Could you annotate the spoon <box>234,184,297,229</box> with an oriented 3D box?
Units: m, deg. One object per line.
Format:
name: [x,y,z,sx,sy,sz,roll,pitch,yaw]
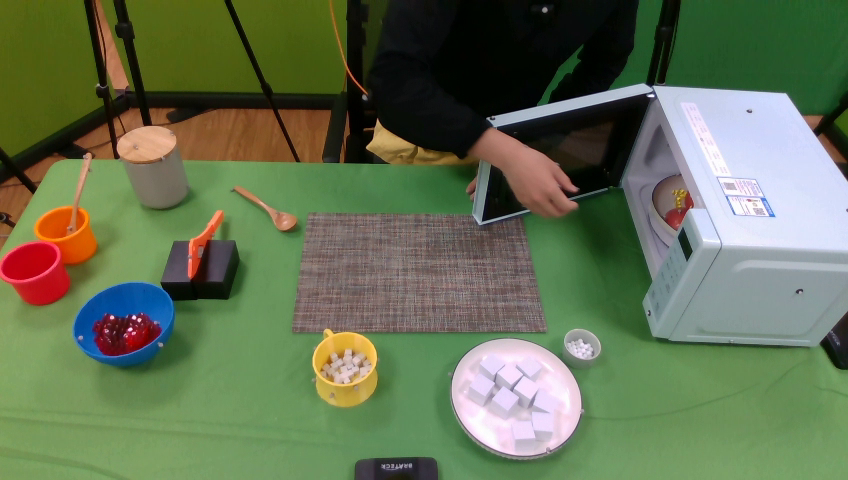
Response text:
spoon: [-0.328,-0.073,1.239,0.193,0.022,0.041,34,69,25]

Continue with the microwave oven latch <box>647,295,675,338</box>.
microwave oven latch: [0.412,0.133,1.060,0.030,0.029,0.078,4,46,1]

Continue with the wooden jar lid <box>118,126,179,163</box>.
wooden jar lid: [-0.528,-0.181,1.167,0.108,0.021,0.107,4,47,-4]

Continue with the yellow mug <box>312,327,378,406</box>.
yellow mug: [-0.132,0.193,0.971,0.100,0.064,0.130,-22,51,-22]

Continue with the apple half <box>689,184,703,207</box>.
apple half: [0.568,-0.090,1.194,0.081,0.053,0.074,0,36,12]

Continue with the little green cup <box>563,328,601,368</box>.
little green cup: [0.265,0.185,1.025,0.061,0.039,0.061,1,45,-1]

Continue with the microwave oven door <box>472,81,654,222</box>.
microwave oven door: [0.273,-0.175,1.203,0.356,0.245,0.039,-16,50,-18]

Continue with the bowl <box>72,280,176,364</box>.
bowl: [-0.473,0.147,0.982,0.151,0.077,0.150,2,46,-2]

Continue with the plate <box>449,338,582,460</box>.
plate: [0.141,0.251,0.956,0.208,0.039,0.206,2,46,-2]

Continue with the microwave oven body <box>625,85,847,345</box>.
microwave oven body: [0.568,-0.054,1.116,0.326,0.261,0.439,2,46,-1]

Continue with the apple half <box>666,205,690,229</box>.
apple half: [0.507,-0.046,1.168,0.081,0.033,0.081,4,46,-4]

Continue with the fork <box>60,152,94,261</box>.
fork: [-0.639,-0.063,1.120,0.028,0.018,0.207,12,90,5]

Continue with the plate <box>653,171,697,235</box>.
plate: [0.551,-0.054,1.188,0.209,0.038,0.208,2,47,-2]

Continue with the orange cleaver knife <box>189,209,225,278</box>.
orange cleaver knife: [-0.401,0.002,1.122,0.012,0.077,0.210,4,23,-4]

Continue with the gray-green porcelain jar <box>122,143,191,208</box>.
gray-green porcelain jar: [-0.531,-0.137,1.214,0.106,0.127,0.105,2,47,-2]
